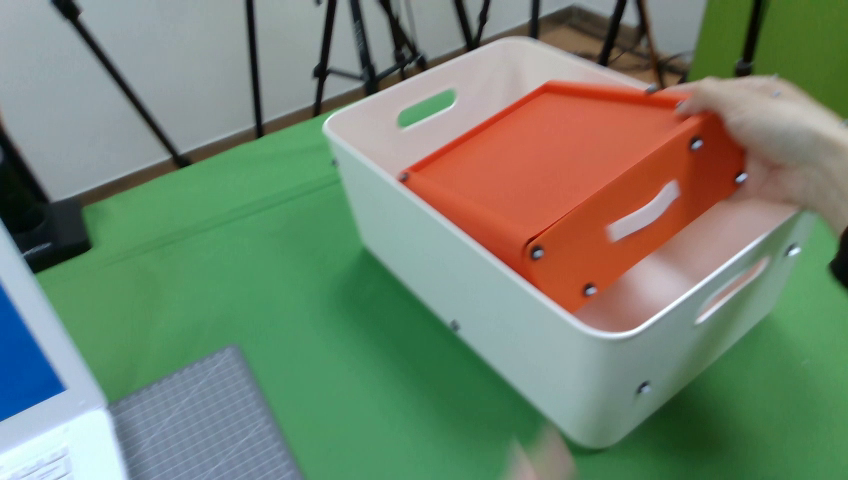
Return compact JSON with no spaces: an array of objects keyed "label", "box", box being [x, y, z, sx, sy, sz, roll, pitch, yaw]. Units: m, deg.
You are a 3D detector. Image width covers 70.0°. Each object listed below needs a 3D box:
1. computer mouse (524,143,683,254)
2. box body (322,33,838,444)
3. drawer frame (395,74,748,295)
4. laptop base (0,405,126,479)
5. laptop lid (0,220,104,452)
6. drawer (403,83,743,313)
[{"label":"computer mouse","box":[0.138,-0.036,0.469,0.117,0.041,0.062,-25,49,-7]},{"label":"box body","box":[0.110,-0.028,0.555,0.254,0.162,0.360,-30,46,-22]},{"label":"drawer frame","box":[0.110,-0.055,0.510,0.201,0.083,0.211,-34,28,-13]},{"label":"laptop base","box":[-0.366,0.282,0.402,0.354,0.023,0.233,-26,48,-19]},{"label":"laptop lid","box":[-0.468,0.115,0.448,0.357,0.243,0.013,-28,16,-18]},{"label":"drawer","box":[0.110,-0.052,0.507,0.194,0.074,0.209,-35,30,-12]}]
